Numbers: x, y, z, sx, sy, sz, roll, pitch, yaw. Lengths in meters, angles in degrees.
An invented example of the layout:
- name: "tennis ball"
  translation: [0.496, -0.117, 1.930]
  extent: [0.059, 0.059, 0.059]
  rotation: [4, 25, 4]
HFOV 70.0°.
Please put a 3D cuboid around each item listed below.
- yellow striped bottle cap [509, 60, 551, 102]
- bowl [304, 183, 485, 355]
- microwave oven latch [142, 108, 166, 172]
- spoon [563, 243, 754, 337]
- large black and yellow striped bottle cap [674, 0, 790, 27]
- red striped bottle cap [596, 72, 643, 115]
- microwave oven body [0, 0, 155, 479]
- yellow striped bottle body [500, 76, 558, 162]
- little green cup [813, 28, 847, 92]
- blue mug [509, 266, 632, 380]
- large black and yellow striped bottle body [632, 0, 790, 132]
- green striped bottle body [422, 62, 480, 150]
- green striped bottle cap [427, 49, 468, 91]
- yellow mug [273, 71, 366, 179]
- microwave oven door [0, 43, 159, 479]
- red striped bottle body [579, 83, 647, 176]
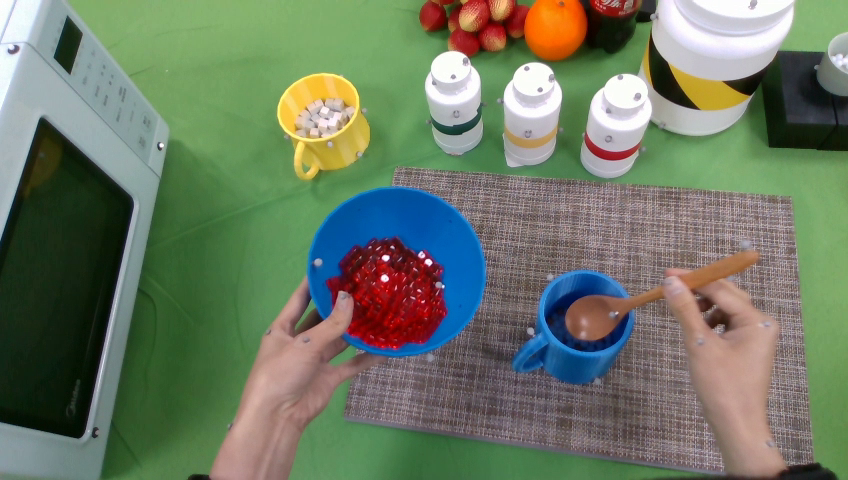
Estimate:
- name: "yellow striped bottle cap"
  translation: [0.111, -0.167, 0.637]
  extent: [0.044, 0.019, 0.044]
  rotation: [-2, 67, 6]
- name: "bowl"
  translation: [-0.027, 0.034, 0.536]
  extent: [0.151, 0.077, 0.150]
  rotation: [3, 69, -6]
- name: "microwave oven latch"
  translation: [-0.344, -0.124, 0.754]
  extent: [0.030, 0.030, 0.078]
  rotation: [-1, 66, 6]
- name: "spoon"
  translation: [0.185, 0.044, 0.505]
  extent: [0.022, 0.194, 0.041]
  rotation: [-9, 74, -31]
- name: "large black and yellow striped bottle cap"
  translation: [0.296, -0.254, 0.582]
  extent: [0.115, 0.019, 0.114]
  rotation: [-3, 64, 6]
- name: "red striped bottle cap"
  translation: [0.199, -0.150, 0.617]
  extent: [0.044, 0.018, 0.044]
  rotation: [-1, 65, 2]
- name: "microwave oven body"
  translation: [-0.501, 0.005, 0.608]
  extent: [0.326, 0.262, 0.438]
  rotation: [-3, 66, 5]
- name: "yellow striped bottle body"
  translation: [0.117, -0.146, 0.683]
  extent: [0.063, 0.121, 0.062]
  rotation: [-3, 65, 7]
- name: "little green cup"
  translation: [0.455, -0.192, 0.652]
  extent: [0.061, 0.039, 0.061]
  rotation: [-2, 64, 4]
- name: "blue mug"
  translation: [0.133, 0.090, 0.579]
  extent: [0.116, 0.107, 0.081]
  rotation: [-28, 65, -6]
- name: "large black and yellow striped bottle body"
  translation: [0.307, -0.220, 0.659]
  extent: [0.130, 0.185, 0.129]
  rotation: [-3, 65, 6]
- name: "green striped bottle body"
  translation: [0.032, -0.162, 0.702]
  extent: [0.063, 0.120, 0.062]
  rotation: [-3, 65, 6]
- name: "green striped bottle cap"
  translation: [0.025, -0.184, 0.655]
  extent: [0.044, 0.020, 0.044]
  rotation: [-3, 63, 6]
- name: "yellow mug"
  translation: [-0.131, -0.134, 0.738]
  extent: [0.099, 0.064, 0.130]
  rotation: [15, 69, 13]
- name: "microwave oven door"
  translation: [-0.356, 0.034, 0.573]
  extent: [0.039, 0.246, 0.353]
  rotation: [-3, 65, 6]
- name: "red striped bottle body"
  translation: [0.207, -0.127, 0.664]
  extent: [0.063, 0.121, 0.062]
  rotation: [-4, 64, 8]
